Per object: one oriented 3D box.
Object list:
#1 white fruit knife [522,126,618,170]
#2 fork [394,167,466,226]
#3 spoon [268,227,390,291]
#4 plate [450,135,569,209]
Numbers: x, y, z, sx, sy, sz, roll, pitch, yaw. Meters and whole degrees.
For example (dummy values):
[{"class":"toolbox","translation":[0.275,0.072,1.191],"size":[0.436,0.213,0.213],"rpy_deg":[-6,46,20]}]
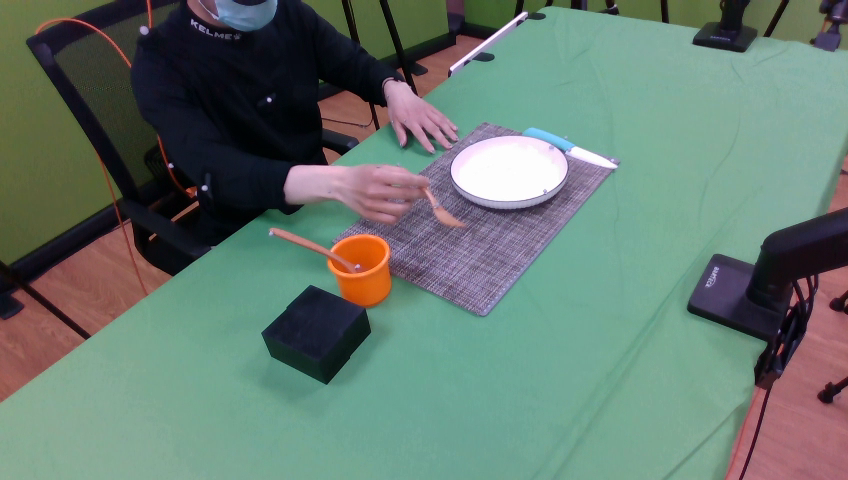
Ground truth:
[{"class":"white fruit knife","translation":[0.272,-0.172,1.132],"size":[0.205,0.016,0.027],"rpy_deg":[32,82,34]},{"class":"fork","translation":[0.003,-0.070,0.928],"size":[0.028,0.018,0.205],"rpy_deg":[-4,35,-32]},{"class":"spoon","translation":[-0.132,0.025,0.862],"size":[0.021,0.195,0.041],"rpy_deg":[-40,32,33]},{"class":"plate","translation":[0.149,-0.117,1.066],"size":[0.209,0.038,0.208],"rpy_deg":[-4,41,4]}]
